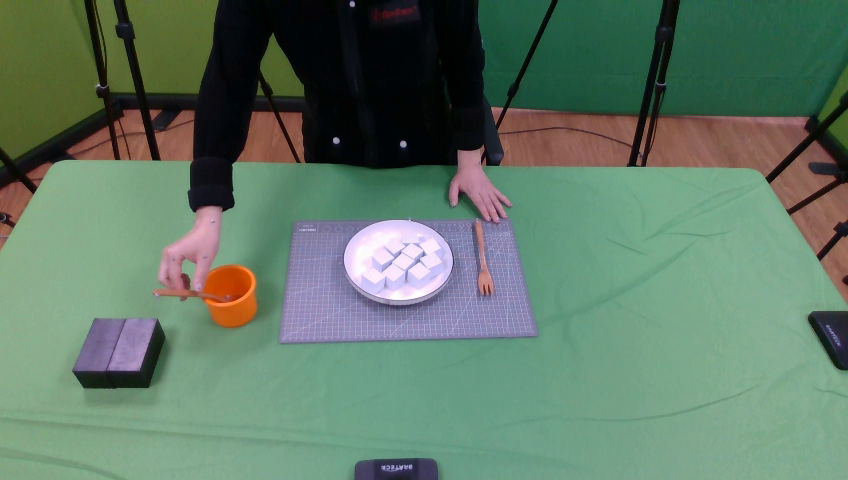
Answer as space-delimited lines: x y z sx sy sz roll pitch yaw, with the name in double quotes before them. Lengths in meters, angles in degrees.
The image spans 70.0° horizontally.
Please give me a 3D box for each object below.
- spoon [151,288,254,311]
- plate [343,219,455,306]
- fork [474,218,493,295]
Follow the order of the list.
"spoon" -0.357 0.092 0.992 0.021 0.195 0.041 -45 59 13
"plate" -0.047 0.045 1.136 0.208 0.039 0.206 2 46 -2
"fork" 0.112 0.029 1.177 0.028 0.019 0.206 -3 48 0
